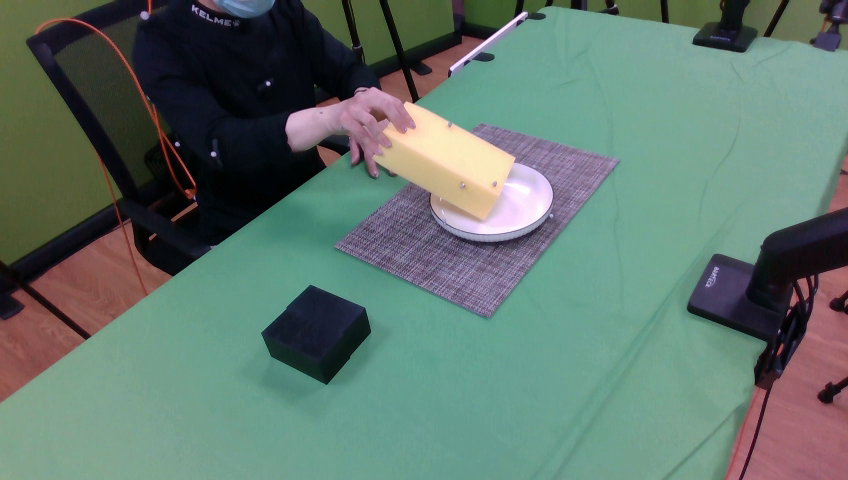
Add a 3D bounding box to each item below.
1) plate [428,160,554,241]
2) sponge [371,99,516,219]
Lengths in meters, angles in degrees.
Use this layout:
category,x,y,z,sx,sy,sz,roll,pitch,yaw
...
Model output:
category,x,y,z,sx,sy,sz,roll,pitch,yaw
plate,0.112,-0.065,1.011,0.207,0.039,0.206,-4,41,4
sponge,0.034,-0.133,0.981,0.207,0.061,0.118,27,45,-2
